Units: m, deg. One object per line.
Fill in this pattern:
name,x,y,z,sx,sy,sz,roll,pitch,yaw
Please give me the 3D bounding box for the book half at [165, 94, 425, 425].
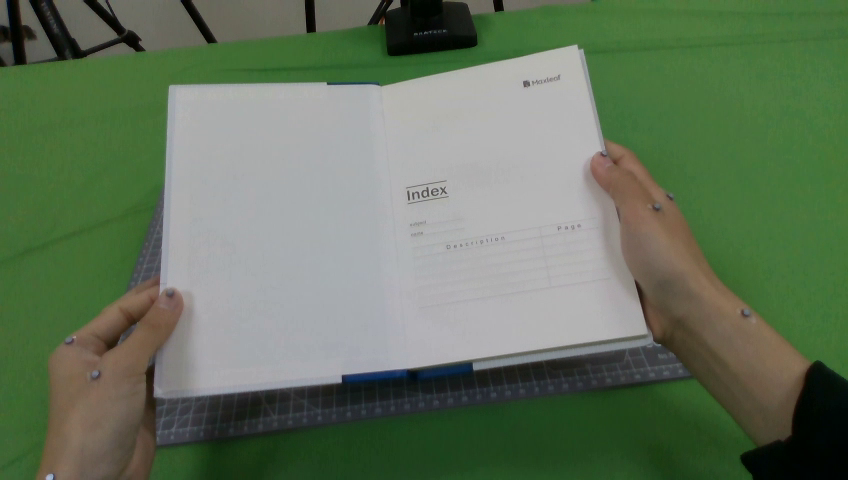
book half,-0.080,0.000,0.373,0.143,0.007,0.208,-3,71,-8
